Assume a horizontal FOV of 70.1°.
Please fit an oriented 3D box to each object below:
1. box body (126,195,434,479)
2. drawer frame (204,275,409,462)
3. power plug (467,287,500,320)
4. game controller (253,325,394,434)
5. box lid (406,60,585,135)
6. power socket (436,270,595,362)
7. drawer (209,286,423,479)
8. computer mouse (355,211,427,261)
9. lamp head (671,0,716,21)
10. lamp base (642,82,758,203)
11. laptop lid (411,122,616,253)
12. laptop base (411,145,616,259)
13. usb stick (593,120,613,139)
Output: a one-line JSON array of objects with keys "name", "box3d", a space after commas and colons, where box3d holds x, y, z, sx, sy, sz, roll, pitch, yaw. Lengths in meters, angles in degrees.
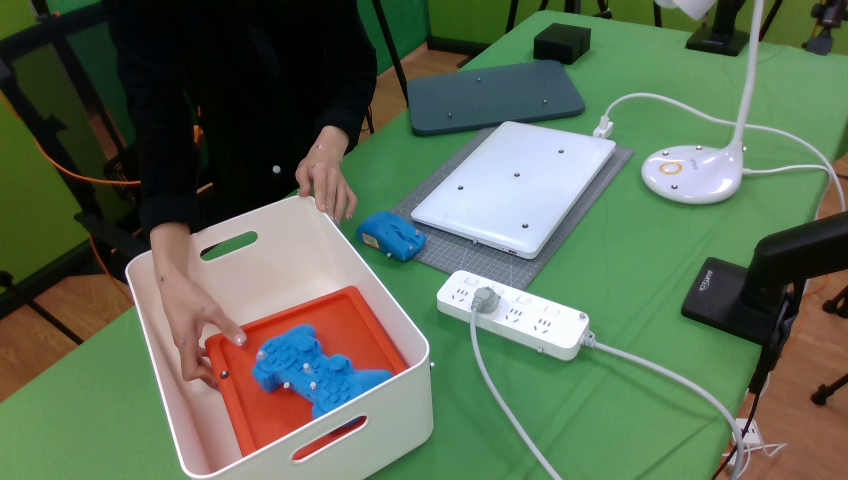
[{"name": "box body", "box3d": [-0.175, 0.131, 0.737, 0.255, 0.161, 0.360, -25, 43, -19]}, {"name": "drawer frame", "box3d": [-0.131, 0.167, 0.728, 0.202, 0.083, 0.211, -22, 50, -19]}, {"name": "power plug", "box3d": [0.073, 0.092, 0.814, 0.035, 0.053, 0.073, 29, 54, 34]}, {"name": "game controller", "box3d": [-0.118, 0.147, 0.677, 0.154, 0.052, 0.097, 24, 51, 29]}, {"name": "box lid", "box3d": [0.150, -0.320, 1.340, 0.372, 0.015, 0.261, -8, 40, 0]}, {"name": "power socket", "box3d": [0.118, 0.101, 0.832, 0.225, 0.033, 0.072, 19, 48, 27]}, {"name": "drawer", "box3d": [-0.134, 0.182, 0.745, 0.195, 0.073, 0.210, -20, 54, -22]}, {"name": "computer mouse", "box3d": [-0.055, -0.010, 0.979, 0.116, 0.041, 0.063, 27, 50, 29]}, {"name": "lamp head", "box3d": [0.375, -0.373, 0.807, 0.122, 0.113, 0.112, -40, 27, 32]}, {"name": "lamp base", "box3d": [0.464, -0.174, 0.992, 0.179, 0.181, 0.159, -5, 41, -1]}, {"name": "laptop lid", "box3d": [0.165, -0.111, 1.067, 0.240, 0.013, 0.357, 19, 46, 31]}, {"name": "laptop base", "box3d": [0.168, -0.101, 1.073, 0.234, 0.023, 0.355, 17, 46, 30]}, {"name": "usb stick", "box3d": [0.336, -0.201, 1.146, 0.021, 0.027, 0.059, 25, 52, 27]}]
